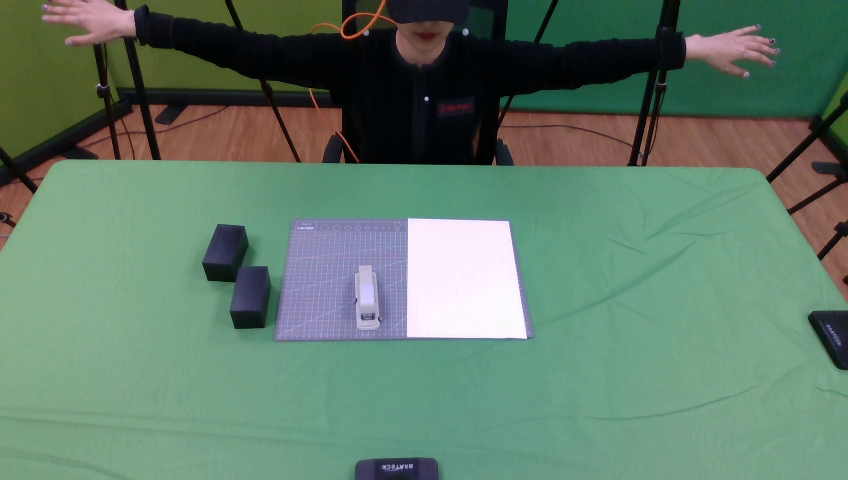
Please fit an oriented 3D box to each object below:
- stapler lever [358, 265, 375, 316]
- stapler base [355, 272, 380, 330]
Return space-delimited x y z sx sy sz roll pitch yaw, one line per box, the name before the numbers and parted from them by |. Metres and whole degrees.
stapler lever | -0.102 0.083 1.070 0.027 0.040 0.117 -1 44 -8
stapler base | -0.103 0.102 1.087 0.041 0.024 0.129 -1 45 -8
